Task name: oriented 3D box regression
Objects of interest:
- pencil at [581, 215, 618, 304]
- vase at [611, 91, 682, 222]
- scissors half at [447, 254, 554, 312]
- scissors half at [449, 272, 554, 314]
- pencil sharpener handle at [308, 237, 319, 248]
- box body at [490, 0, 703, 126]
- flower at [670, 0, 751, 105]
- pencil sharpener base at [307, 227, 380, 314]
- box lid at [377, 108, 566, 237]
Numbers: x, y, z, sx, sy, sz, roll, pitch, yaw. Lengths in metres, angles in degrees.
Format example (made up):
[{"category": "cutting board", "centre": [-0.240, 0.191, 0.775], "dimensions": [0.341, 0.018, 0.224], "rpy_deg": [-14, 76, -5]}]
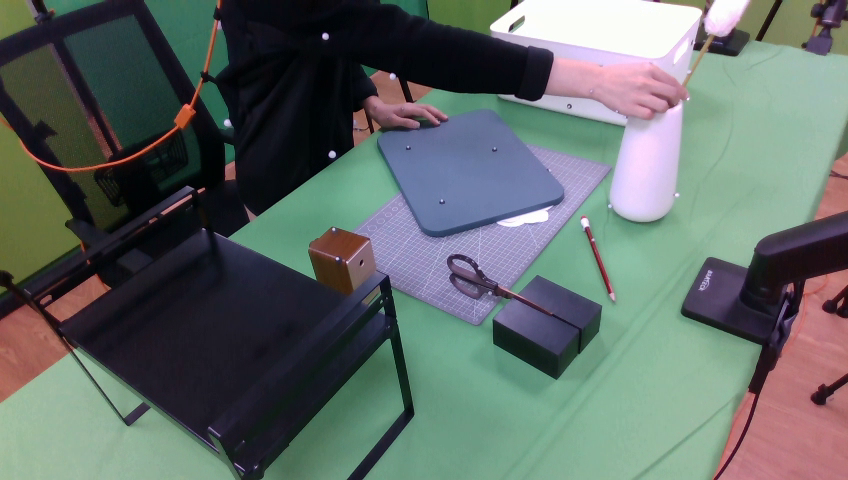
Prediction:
[{"category": "pencil", "centre": [0.266, 0.025, 0.916], "dimensions": [0.012, 0.012, 0.193], "rpy_deg": [-6, 42, 1]}, {"category": "vase", "centre": [0.348, -0.125, 0.935], "dimensions": [0.098, 0.201, 0.097], "rpy_deg": [-3, 40, 3]}, {"category": "scissors half", "centre": [0.101, 0.060, 0.822], "dimensions": [0.174, 0.040, 0.013], "rpy_deg": [28, 49, 29]}, {"category": "scissors half", "centre": [0.104, 0.076, 0.834], "dimensions": [0.173, 0.040, 0.013], "rpy_deg": [15, 47, 42]}, {"category": "pencil sharpener handle", "centre": [-0.158, 0.017, 0.892], "dimensions": [0.030, 0.068, 0.036], "rpy_deg": [18, 61, 28]}, {"category": "box body", "centre": [0.352, -0.384, 1.268], "dimensions": [0.361, 0.161, 0.255], "rpy_deg": [21, 48, 29]}, {"category": "flower", "centre": [0.355, -0.191, 0.883], "dimensions": [0.044, 0.362, 0.038], "rpy_deg": [-19, 55, -31]}, {"category": "pencil sharpener base", "centre": [-0.116, 0.043, 0.875], "dimensions": [0.076, 0.107, 0.061], "rpy_deg": [18, 47, 28]}, {"category": "box lid", "centre": [0.074, -0.141, 1.136], "dimensions": [0.264, 0.015, 0.368], "rpy_deg": [-16, 40, -10]}]
